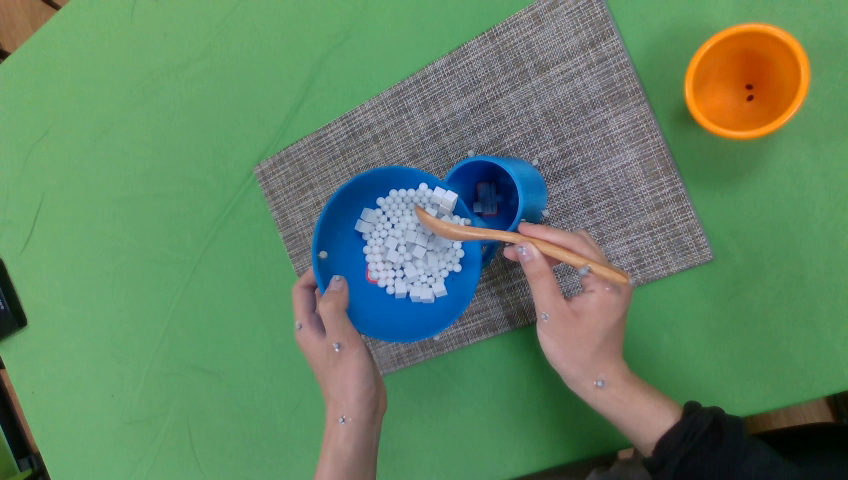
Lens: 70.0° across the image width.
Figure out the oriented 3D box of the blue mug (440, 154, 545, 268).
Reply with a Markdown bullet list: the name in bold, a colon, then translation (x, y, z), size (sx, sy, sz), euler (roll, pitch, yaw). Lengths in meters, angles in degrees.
- **blue mug**: translation (0.064, -0.026, 0.598), size (0.082, 0.106, 0.117), euler (17, 103, 20)

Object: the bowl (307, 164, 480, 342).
- **bowl**: translation (-0.034, 0.015, 0.537), size (0.076, 0.152, 0.151), euler (-18, 90, 67)

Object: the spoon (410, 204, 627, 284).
- **spoon**: translation (0.064, 0.000, 0.468), size (0.192, 0.042, 0.021), euler (15, 76, 35)
